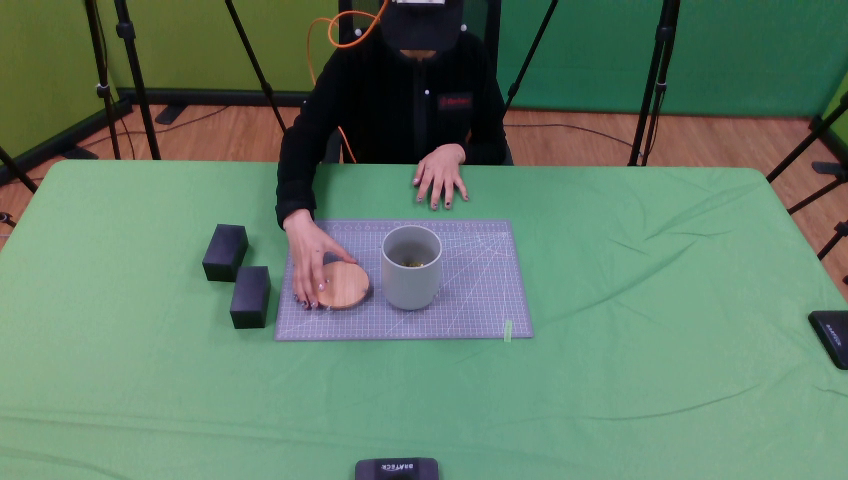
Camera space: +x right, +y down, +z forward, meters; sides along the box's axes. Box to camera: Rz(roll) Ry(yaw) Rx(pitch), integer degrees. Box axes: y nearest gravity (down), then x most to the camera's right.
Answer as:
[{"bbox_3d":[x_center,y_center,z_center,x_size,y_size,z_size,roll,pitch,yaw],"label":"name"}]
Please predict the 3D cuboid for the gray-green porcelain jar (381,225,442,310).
[{"bbox_3d":[-0.023,0.053,1.068,0.106,0.127,0.105,2,46,-2],"label":"gray-green porcelain jar"}]

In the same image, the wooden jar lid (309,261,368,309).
[{"bbox_3d":[-0.155,0.084,1.104,0.108,0.021,0.107,2,47,-2],"label":"wooden jar lid"}]
